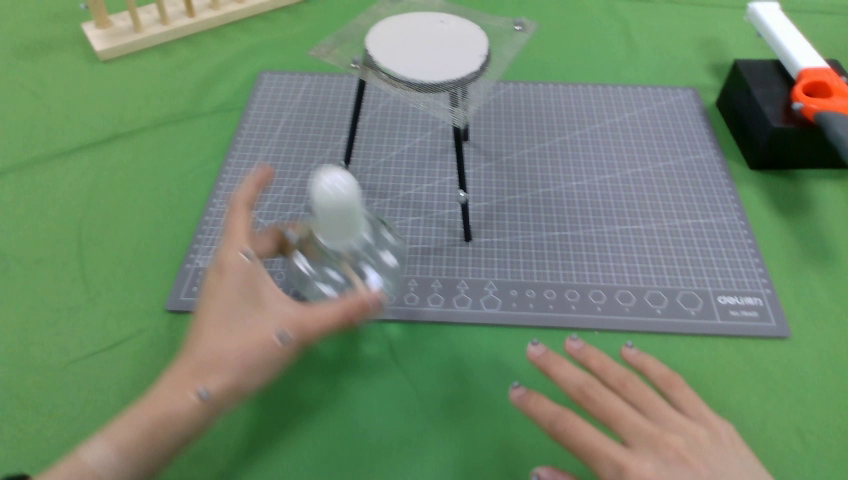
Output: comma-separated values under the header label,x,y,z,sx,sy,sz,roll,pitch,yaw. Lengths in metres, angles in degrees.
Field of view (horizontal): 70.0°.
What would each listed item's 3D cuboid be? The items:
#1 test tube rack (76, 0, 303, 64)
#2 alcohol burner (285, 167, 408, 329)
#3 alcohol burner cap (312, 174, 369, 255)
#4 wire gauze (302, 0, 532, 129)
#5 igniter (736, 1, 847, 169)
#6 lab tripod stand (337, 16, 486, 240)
label,x,y,z,sx,sy,sz,roll,pitch,yaw
test tube rack,-0.262,-0.284,0.668,0.242,0.086,0.066,-27,56,-22
alcohol burner,-0.049,0.003,0.375,0.078,0.120,0.077,0,50,0
alcohol burner cap,-0.050,-0.017,0.351,0.034,0.048,0.033,1,50,-1
wire gauze,-0.002,-0.135,0.423,0.124,0.011,0.121,25,54,17
igniter,0.341,-0.139,0.535,0.057,0.025,0.273,-2,47,1
lab tripod stand,0.001,-0.090,0.474,0.148,0.132,0.147,2,50,-2
